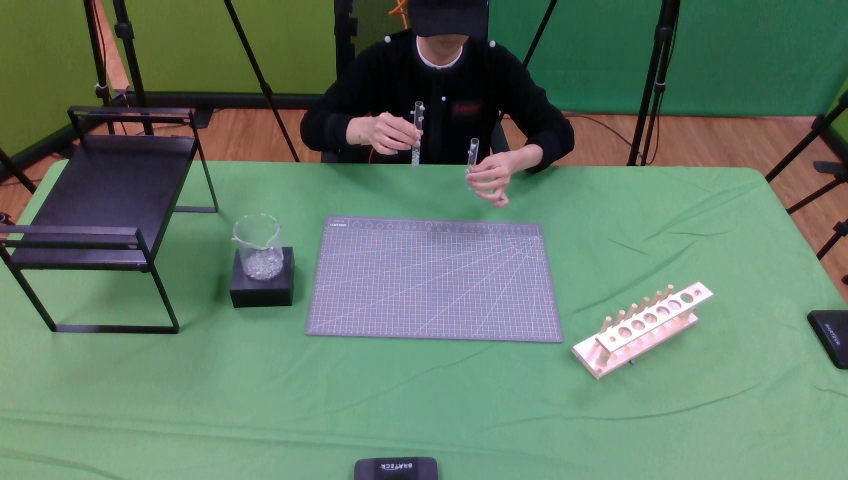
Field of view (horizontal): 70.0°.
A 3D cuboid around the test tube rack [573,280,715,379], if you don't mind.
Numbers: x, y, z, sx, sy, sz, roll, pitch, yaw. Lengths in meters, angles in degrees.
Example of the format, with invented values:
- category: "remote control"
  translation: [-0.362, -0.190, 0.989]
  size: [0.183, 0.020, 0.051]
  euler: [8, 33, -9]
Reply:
- category: "test tube rack"
  translation: [0.378, 0.140, 1.038]
  size: [0.242, 0.085, 0.066]
  euler: [-22, 51, -23]

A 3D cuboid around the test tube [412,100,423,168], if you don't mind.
- category: "test tube"
  translation: [-0.013, -0.197, 1.145]
  size: [0.017, 0.151, 0.017]
  euler: [2, 46, -2]

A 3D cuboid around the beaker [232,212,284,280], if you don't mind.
- category: "beaker"
  translation: [-0.280, 0.016, 1.037]
  size: [0.074, 0.101, 0.083]
  euler: [-18, 50, -20]

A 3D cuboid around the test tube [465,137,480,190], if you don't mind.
- category: "test tube"
  translation: [0.090, -0.142, 1.151]
  size: [0.017, 0.151, 0.017]
  euler: [1, 59, -1]
